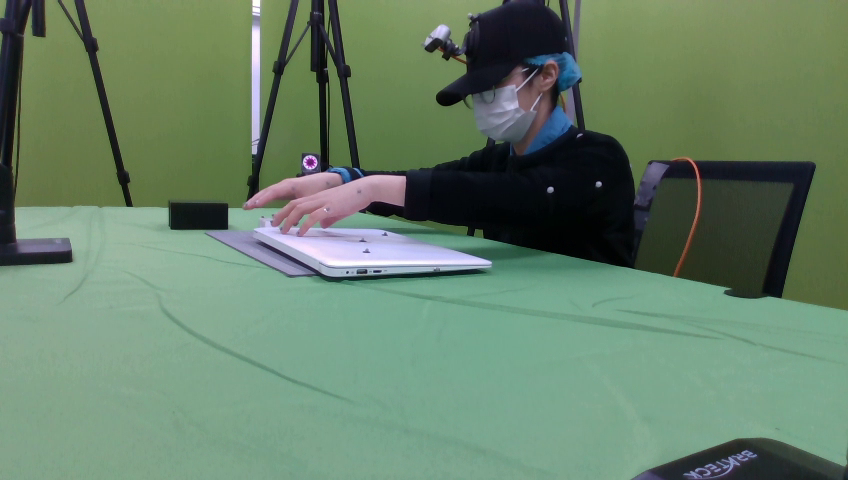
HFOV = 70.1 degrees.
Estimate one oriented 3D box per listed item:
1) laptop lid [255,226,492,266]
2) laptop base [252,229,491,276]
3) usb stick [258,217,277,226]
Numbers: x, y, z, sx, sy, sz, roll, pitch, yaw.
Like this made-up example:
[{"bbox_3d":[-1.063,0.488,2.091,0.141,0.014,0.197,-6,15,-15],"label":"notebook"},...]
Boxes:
[{"bbox_3d":[-0.092,0.004,0.888,0.243,0.013,0.355,1,8,-28],"label":"laptop lid"},{"bbox_3d":[-0.094,0.015,0.889,0.237,0.023,0.352,2,7,-30],"label":"laptop base"},{"bbox_3d":[-0.261,-0.022,1.016,0.021,0.027,0.059,-1,13,-29],"label":"usb stick"}]
